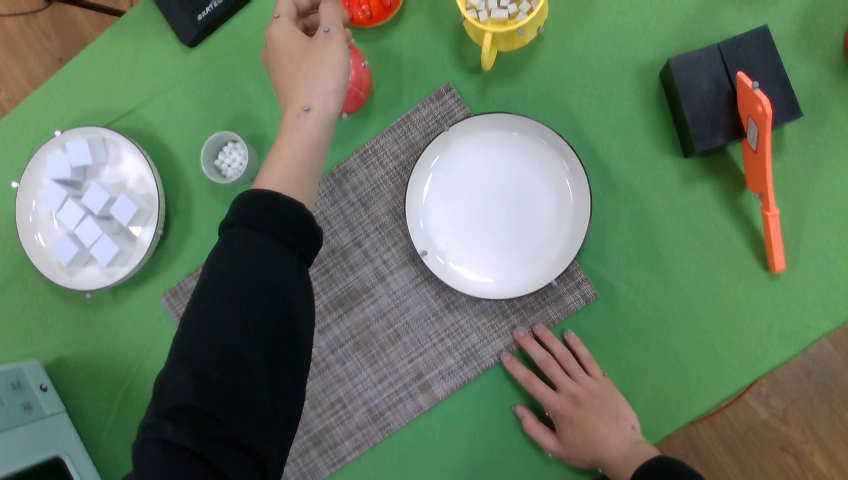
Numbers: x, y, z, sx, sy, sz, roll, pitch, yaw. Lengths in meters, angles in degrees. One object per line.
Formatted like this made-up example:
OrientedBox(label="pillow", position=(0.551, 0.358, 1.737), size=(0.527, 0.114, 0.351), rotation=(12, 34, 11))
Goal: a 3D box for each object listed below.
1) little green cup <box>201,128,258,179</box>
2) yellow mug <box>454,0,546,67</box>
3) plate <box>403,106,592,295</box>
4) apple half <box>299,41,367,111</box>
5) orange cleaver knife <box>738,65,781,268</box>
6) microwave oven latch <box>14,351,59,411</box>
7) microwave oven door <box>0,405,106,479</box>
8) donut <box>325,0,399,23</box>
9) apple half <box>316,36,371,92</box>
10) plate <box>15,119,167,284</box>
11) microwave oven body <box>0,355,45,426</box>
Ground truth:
OrientedBox(label="little green cup", position=(-0.235, -0.103, 0.740), size=(0.061, 0.039, 0.061), rotation=(0, 89, 11))
OrientedBox(label="yellow mug", position=(0.081, -0.257, 0.670), size=(0.100, 0.064, 0.131), rotation=(14, 93, 10))
OrientedBox(label="plate", position=(0.080, -0.044, 0.680), size=(0.209, 0.038, 0.209), rotation=(0, 90, 10))
OrientedBox(label="apple half", position=(-0.111, -0.180, 0.701), size=(0.053, 0.074, 0.080), rotation=(-44, 86, 11))
OrientedBox(label="orange cleaver knife", position=(0.339, -0.071, 0.616), size=(0.012, 0.076, 0.213), rotation=(-15, 117, 13))
OrientedBox(label="microwave oven latch", position=(-0.497, 0.180, 0.767), size=(0.030, 0.029, 0.079), rotation=(-28, 86, 8))
OrientedBox(label="microwave oven door", position=(-0.402, 0.366, 0.647), size=(0.039, 0.244, 0.355), rotation=(-32, 84, 8))
OrientedBox(label="donut", position=(-0.072, -0.303, 0.709), size=(0.099, 0.048, 0.099), rotation=(0, 93, 10))
OrientedBox(label="apple half", position=(-0.083, -0.208, 0.695), size=(0.033, 0.081, 0.081), rotation=(-44, 82, 12))
OrientedBox(label="plate", position=(-0.418, -0.047, 0.773), size=(0.207, 0.039, 0.207), rotation=(0, 90, 10))
OrientedBox(label="microwave oven body", position=(-0.546, 0.406, 0.677), size=(0.326, 0.261, 0.440), rotation=(-32, 85, 8))
